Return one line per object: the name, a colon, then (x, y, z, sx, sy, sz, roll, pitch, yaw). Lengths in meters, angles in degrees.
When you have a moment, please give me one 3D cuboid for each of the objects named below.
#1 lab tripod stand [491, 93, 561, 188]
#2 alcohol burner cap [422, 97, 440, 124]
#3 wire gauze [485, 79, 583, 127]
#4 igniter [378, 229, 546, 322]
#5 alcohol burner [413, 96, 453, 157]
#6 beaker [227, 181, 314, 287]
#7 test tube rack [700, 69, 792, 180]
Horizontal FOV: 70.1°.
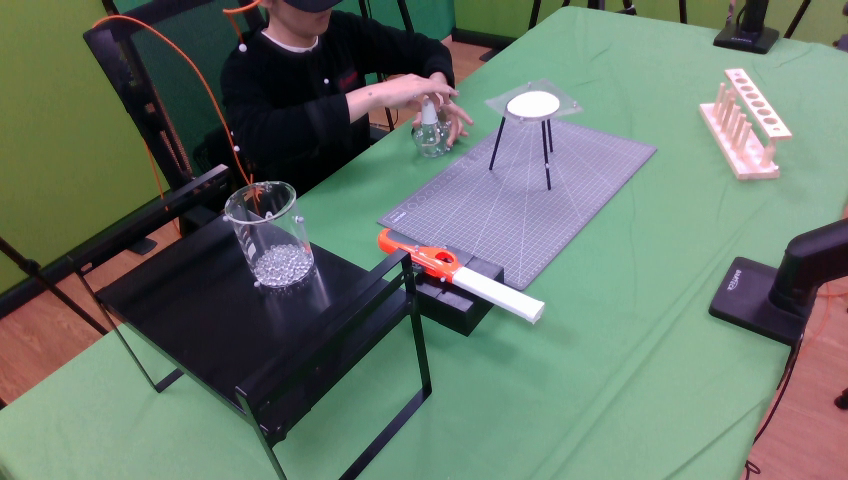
lab tripod stand: (0.189, -0.180, 1.066, 0.148, 0.132, 0.147, -5, 42, 5)
alcohol burner cap: (0.013, -0.246, 1.142, 0.034, 0.048, 0.033, -4, 40, 4)
wire gauze: (0.185, -0.231, 1.023, 0.125, 0.011, 0.120, -20, 42, -12)
igniter: (0.041, 0.043, 0.843, 0.274, 0.025, 0.057, 24, 47, 29)
alcohol burner: (0.015, -0.222, 1.162, 0.078, 0.119, 0.077, -4, 39, 4)
beaker: (-0.166, -0.006, 0.670, 0.074, 0.101, 0.083, -8, 40, 0)
test tube rack: (0.571, -0.215, 1.089, 0.066, 0.085, 0.241, -3, 41, 7)
